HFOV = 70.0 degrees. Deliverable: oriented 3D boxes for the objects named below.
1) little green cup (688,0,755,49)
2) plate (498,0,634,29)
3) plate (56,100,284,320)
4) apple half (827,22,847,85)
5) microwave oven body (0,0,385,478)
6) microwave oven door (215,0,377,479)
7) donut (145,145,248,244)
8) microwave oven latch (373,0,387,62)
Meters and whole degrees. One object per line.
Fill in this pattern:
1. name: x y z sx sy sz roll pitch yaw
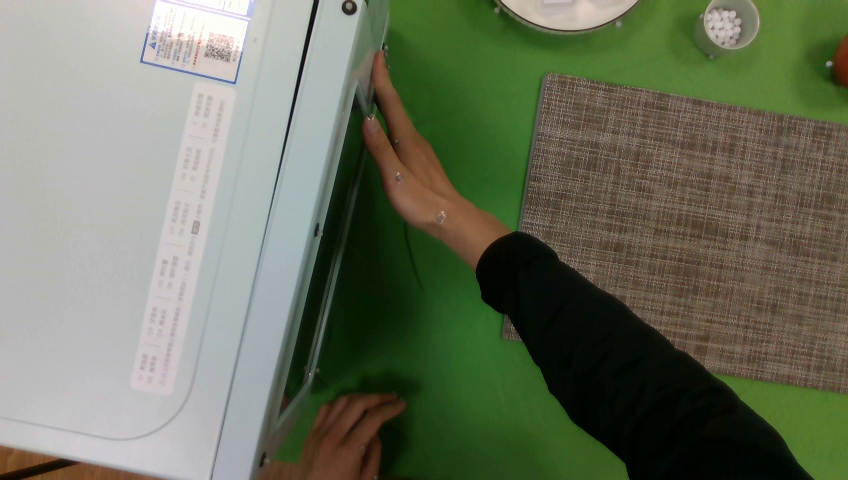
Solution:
1. little green cup: 0.324 -0.241 0.666 0.061 0.038 0.061 0 91 -2
2. plate: 0.151 -0.330 0.657 0.208 0.039 0.207 0 91 -2
3. plate: -0.239 -0.028 0.586 0.209 0.038 0.209 0 91 -3
4. apple half: 0.471 -0.206 0.655 0.053 0.074 0.081 1 94 3
5. microwave oven body: -0.239 -0.075 0.533 0.326 0.260 0.441 12 91 -3
6. microwave oven door: -0.102 -0.002 0.535 0.039 0.243 0.355 13 90 -2
7. donut: -0.217 -0.042 0.581 0.099 0.048 0.099 2 112 6
8. microwave oven latch: -0.059 -0.218 0.633 0.030 0.029 0.079 14 91 -3
